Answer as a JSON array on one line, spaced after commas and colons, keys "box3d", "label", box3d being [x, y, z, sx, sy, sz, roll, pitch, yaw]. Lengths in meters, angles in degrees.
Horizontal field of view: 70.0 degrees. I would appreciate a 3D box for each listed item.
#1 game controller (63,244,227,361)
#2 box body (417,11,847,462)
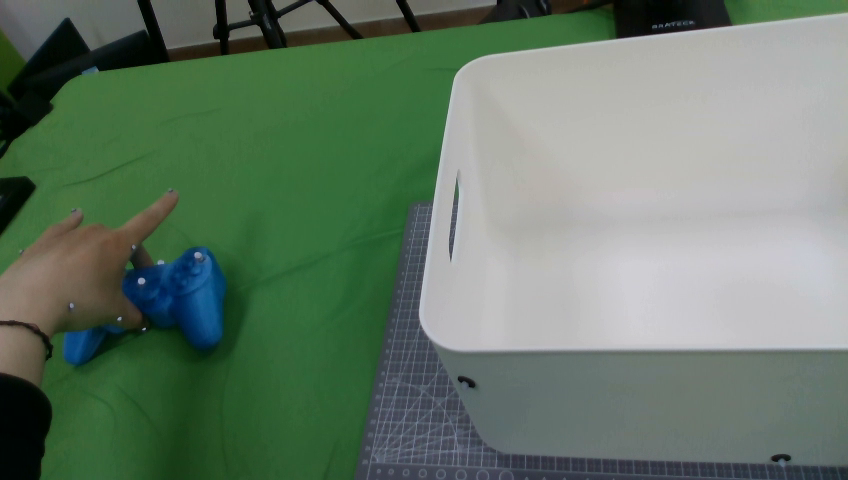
[{"box3d": [-0.255, 0.052, 0.552, 0.155, 0.052, 0.096, -7, 50, 9], "label": "game controller"}, {"box3d": [0.200, 0.000, 0.395, 0.363, 0.162, 0.252, -3, 49, 13], "label": "box body"}]
